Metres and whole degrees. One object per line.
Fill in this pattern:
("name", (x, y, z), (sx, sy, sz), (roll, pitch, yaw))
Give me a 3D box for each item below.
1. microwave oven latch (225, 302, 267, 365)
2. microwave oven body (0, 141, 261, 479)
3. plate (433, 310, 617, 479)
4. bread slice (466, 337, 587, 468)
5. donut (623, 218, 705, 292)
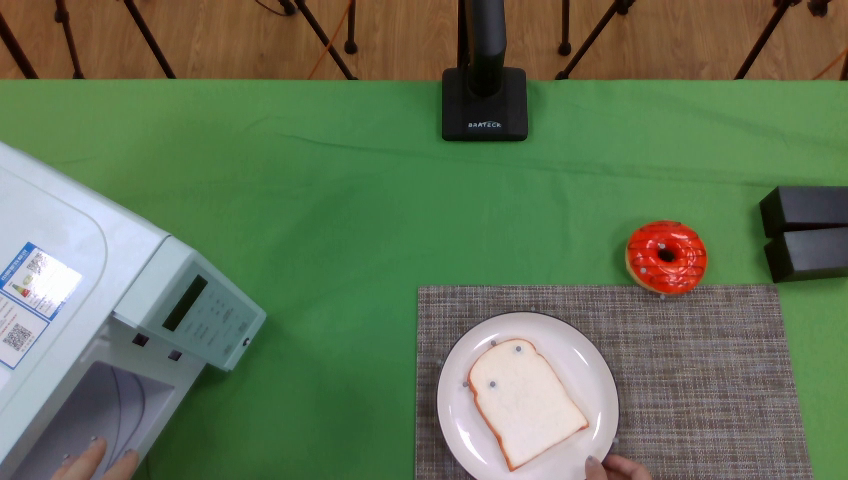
("microwave oven latch", (-0.220, 0.108, 0.723), (0.030, 0.030, 0.079), (29, 74, 11))
("microwave oven body", (-0.438, 0.155, 0.608), (0.325, 0.262, 0.440), (27, 73, 10))
("plate", (0.114, 0.186, 0.701), (0.208, 0.039, 0.206), (0, 70, 1))
("bread slice", (0.111, 0.180, 0.704), (0.105, 0.019, 0.130), (-29, 72, -10))
("donut", (0.299, 0.019, 0.756), (0.099, 0.048, 0.098), (-2, 67, 5))
